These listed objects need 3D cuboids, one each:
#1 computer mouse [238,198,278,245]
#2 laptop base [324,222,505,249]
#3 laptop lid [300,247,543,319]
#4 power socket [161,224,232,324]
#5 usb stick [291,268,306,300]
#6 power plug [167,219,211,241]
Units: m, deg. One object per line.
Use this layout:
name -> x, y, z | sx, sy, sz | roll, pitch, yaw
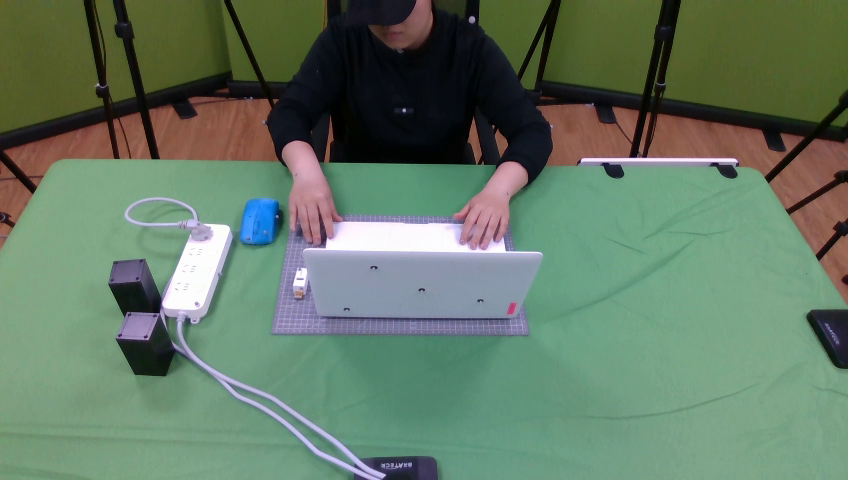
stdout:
computer mouse -> -0.328, -0.039, 1.200 | 0.063, 0.041, 0.116 | 3, 50, -4
laptop base -> -0.015, 0.054, 1.145 | 0.354, 0.023, 0.234 | 1, 42, -3
laptop lid -> -0.006, 0.075, 0.963 | 0.357, 0.242, 0.013 | 2, 58, -4
power socket -> -0.411, 0.052, 1.107 | 0.072, 0.033, 0.225 | 4, 46, -2
usb stick -> -0.227, 0.081, 1.093 | 0.021, 0.027, 0.059 | 6, 47, -4
power plug -> -0.438, -0.017, 1.143 | 0.072, 0.053, 0.035 | 9, 42, 7
